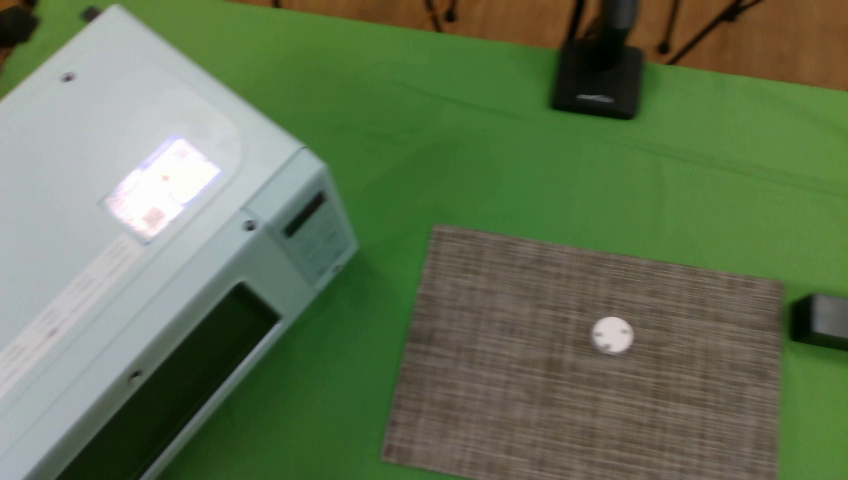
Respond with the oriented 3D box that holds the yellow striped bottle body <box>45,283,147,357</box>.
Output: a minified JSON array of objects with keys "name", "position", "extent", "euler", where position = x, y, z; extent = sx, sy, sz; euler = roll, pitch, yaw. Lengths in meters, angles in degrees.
[{"name":"yellow striped bottle body","position":[-0.350,0.085,0.645],"extent":[0.063,0.121,0.062],"euler":[1,70,-1]}]

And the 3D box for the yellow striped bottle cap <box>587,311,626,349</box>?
[{"name":"yellow striped bottle cap","position":[0.224,0.110,0.742],"extent":[0.044,0.019,0.044],"euler":[-1,71,3]}]

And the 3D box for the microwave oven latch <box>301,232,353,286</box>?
[{"name":"microwave oven latch","position":[-0.123,0.019,0.756],"extent":[0.030,0.030,0.079],"euler":[38,77,13]}]

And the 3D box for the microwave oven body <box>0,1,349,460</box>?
[{"name":"microwave oven body","position":[-0.352,0.034,0.654],"extent":[0.324,0.262,0.441],"euler":[36,76,12]}]

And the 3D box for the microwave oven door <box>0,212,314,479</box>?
[{"name":"microwave oven door","position":[-0.263,0.148,0.608],"extent":[0.039,0.245,0.355],"euler":[36,76,14]}]
